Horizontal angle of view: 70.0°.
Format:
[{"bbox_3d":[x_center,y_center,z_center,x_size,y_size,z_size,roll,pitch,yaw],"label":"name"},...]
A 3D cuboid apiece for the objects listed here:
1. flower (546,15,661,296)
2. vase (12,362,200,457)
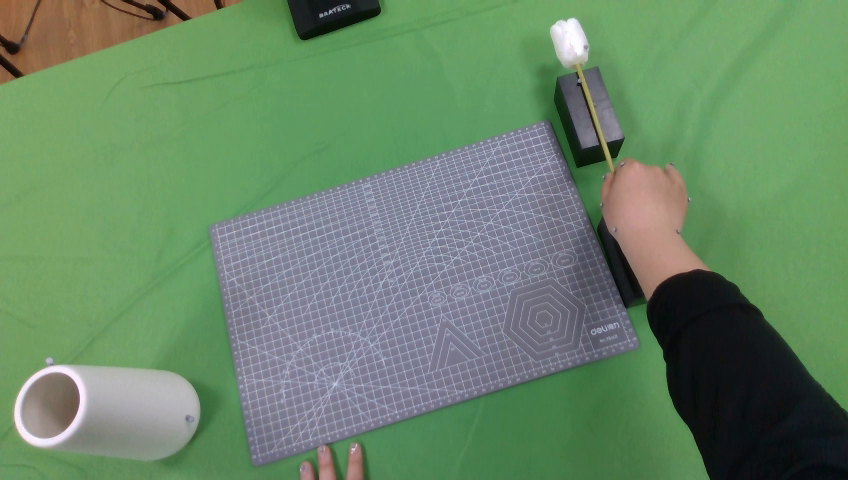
[{"bbox_3d":[0.204,-0.106,0.683,0.044,0.038,0.359,1,65,-30],"label":"flower"},{"bbox_3d":[-0.309,0.169,0.611,0.098,0.201,0.097,-2,71,5],"label":"vase"}]
